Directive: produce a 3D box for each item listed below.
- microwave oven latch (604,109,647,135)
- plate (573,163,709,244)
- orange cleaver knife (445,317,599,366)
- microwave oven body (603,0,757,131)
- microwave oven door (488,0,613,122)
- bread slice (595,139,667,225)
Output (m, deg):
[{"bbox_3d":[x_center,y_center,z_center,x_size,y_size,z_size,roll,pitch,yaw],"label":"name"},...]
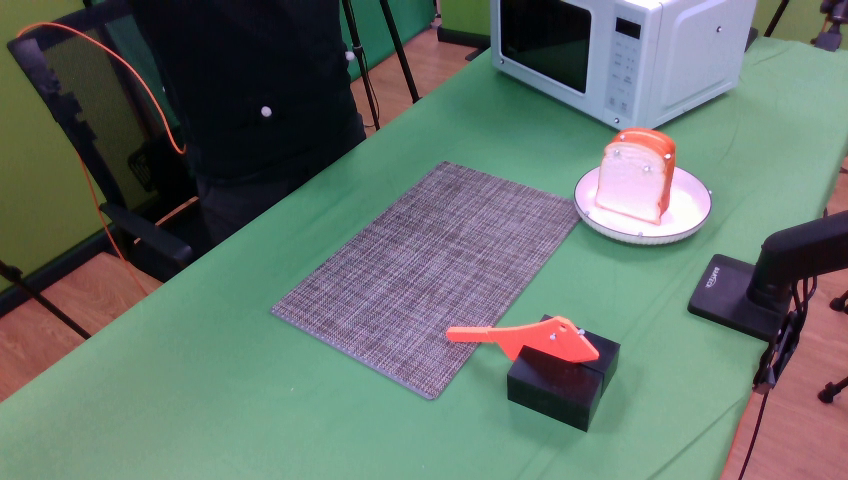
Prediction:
[{"bbox_3d":[0.378,-0.225,1.139,0.030,0.029,0.078,-26,43,-20],"label":"microwave oven latch"},{"bbox_3d":[0.346,-0.059,0.978,0.207,0.039,0.206,-4,41,4],"label":"plate"},{"bbox_3d":[0.115,0.129,0.751,0.210,0.077,0.012,-11,31,44],"label":"orange cleaver knife"},{"bbox_3d":[0.396,-0.448,1.248,0.327,0.261,0.437,-27,44,-21],"label":"microwave oven body"},{"bbox_3d":[0.250,-0.412,1.219,0.039,0.245,0.352,-27,44,-21],"label":"microwave oven door"},{"bbox_3d":[0.321,-0.093,0.936,0.106,0.135,0.018,17,44,31],"label":"bread slice"}]
